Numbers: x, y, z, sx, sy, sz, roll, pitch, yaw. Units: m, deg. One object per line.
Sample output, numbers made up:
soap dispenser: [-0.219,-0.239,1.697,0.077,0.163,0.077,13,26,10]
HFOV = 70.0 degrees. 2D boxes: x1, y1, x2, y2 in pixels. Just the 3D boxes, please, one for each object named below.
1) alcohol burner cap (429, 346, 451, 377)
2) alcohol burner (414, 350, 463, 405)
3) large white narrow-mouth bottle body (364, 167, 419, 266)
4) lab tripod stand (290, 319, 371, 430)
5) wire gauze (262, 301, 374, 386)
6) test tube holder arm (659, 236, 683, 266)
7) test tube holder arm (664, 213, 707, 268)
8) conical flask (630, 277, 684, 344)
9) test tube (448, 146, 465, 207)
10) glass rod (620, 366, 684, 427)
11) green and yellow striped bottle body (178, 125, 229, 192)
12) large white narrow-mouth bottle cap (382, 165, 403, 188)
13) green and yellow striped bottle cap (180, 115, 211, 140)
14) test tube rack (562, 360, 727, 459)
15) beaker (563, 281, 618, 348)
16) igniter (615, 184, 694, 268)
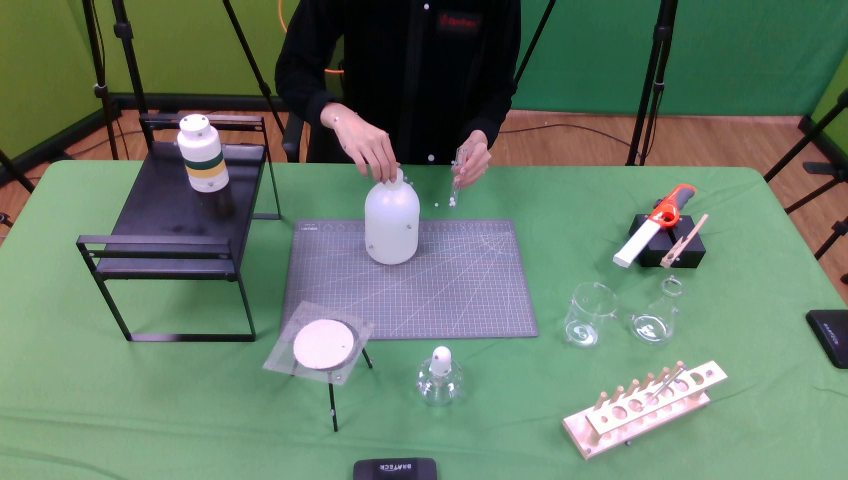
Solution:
alcohol burner cap: [0.026,0.180,0.912,0.034,0.048,0.033,1,47,-1]
alcohol burner: [0.023,0.205,0.939,0.078,0.120,0.077,1,48,-1]
large white narrow-mouth bottle body: [-0.060,-0.049,1.118,0.102,0.195,0.101,2,45,-2]
lab tripod stand: [-0.146,0.193,0.923,0.148,0.132,0.147,1,47,-1]
wire gauze: [-0.150,0.148,0.873,0.121,0.011,0.124,14,46,12]
test tube holder arm: [0.472,0.020,1.149,0.010,0.015,0.088,34,54,27]
test tube holder arm: [0.507,-0.001,1.171,0.013,0.015,0.178,33,53,26]
conical flask: [0.408,0.117,1.045,0.075,0.122,0.075,2,46,-2]
test tube: [0.058,-0.113,1.113,0.017,0.151,0.017,3,52,-3]
glass rod: [0.323,0.227,0.866,0.008,0.200,0.008,5,51,-6]
green and yellow striped bottle body: [-0.361,-0.142,0.989,0.063,0.120,0.063,2,46,-2]
large white narrow-mouth bottle cap: [-0.054,-0.111,1.058,0.038,0.024,0.037,3,45,-2]
green and yellow striped bottle cap: [-0.358,-0.177,0.951,0.045,0.020,0.045,2,45,-2]
test tube rack: [0.341,0.247,0.940,0.243,0.085,0.066,-16,49,-18]
beaker: [0.283,0.129,1.041,0.074,0.101,0.083,11,46,7]
igniter: [0.459,-0.035,1.197,0.057,0.025,0.276,32,55,27]
